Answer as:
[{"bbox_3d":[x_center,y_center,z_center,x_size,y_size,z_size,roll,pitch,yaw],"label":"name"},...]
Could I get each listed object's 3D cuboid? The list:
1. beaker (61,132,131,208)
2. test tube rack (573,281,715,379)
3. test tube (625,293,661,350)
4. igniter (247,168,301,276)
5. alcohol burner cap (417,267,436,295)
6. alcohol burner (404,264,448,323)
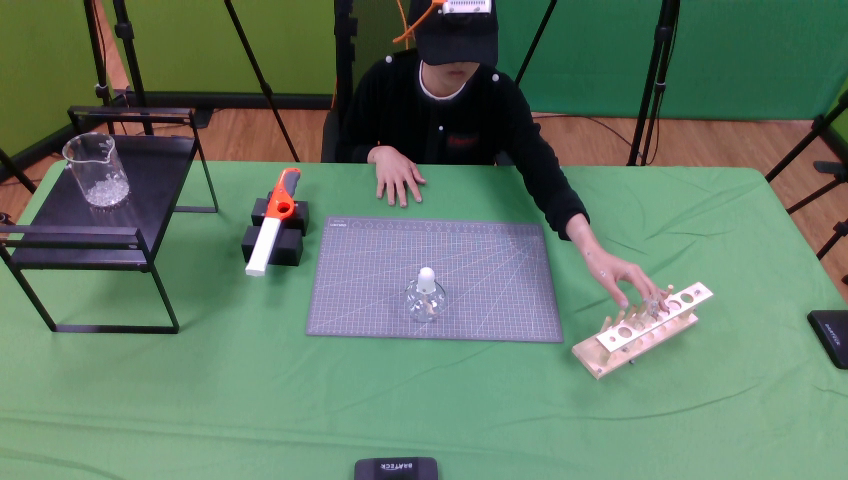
[{"bbox_3d":[-0.512,-0.107,0.959,0.083,0.101,0.074,29,51,22],"label":"beaker"},{"bbox_3d":[0.378,0.140,1.038,0.242,0.085,0.066,-22,51,-23],"label":"test tube rack"},{"bbox_3d":[0.350,0.134,0.973,0.017,0.151,0.017,1,49,-1],"label":"test tube"},{"bbox_3d":[-0.282,-0.043,1.149,0.057,0.025,0.275,8,48,-1],"label":"igniter"},{"bbox_3d":[0.004,0.066,1.019,0.034,0.048,0.033,0,47,1],"label":"alcohol burner cap"},{"bbox_3d":[0.003,0.087,1.042,0.078,0.120,0.077,1,45,0],"label":"alcohol burner"}]
